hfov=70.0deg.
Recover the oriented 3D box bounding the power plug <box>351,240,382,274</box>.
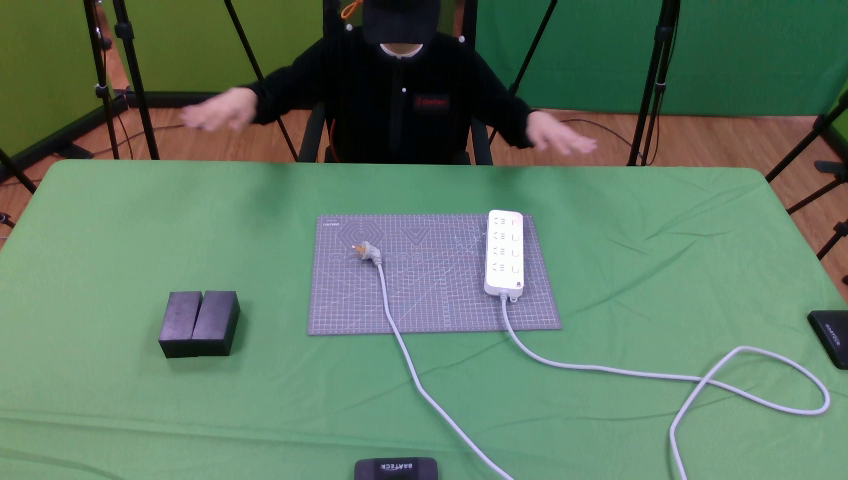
[{"bbox_3d":[-0.107,0.029,1.144,0.053,0.035,0.072,3,31,-24],"label":"power plug"}]

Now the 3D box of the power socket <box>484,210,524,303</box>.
[{"bbox_3d":[0.157,0.023,1.175,0.072,0.033,0.225,6,46,3],"label":"power socket"}]
